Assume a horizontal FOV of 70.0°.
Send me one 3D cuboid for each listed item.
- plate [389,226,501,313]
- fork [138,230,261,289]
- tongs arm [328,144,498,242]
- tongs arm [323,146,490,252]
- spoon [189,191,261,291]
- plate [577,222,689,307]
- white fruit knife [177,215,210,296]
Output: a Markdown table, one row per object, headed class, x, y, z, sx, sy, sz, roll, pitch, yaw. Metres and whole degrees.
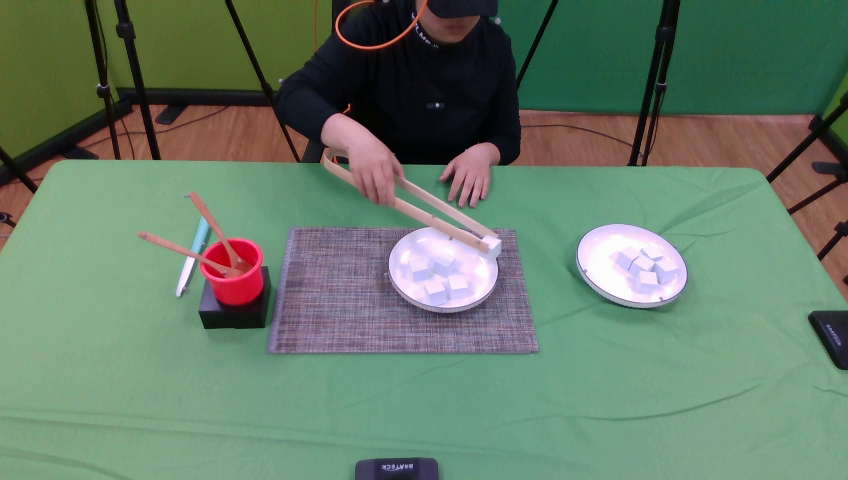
| class | x | y | z | sx | sy | sz | roll | pitch | yaw |
| --- | --- | --- | --- | --- | --- | --- | --- | --- | --- |
| plate | 0.038 | 0.057 | 1.129 | 0.208 | 0.039 | 0.206 | 2 | 46 | -2 |
| fork | -0.360 | 0.032 | 0.981 | 0.208 | 0.018 | 0.028 | 31 | 60 | -30 |
| tongs arm | -0.027 | -0.095 | 1.162 | 0.386 | 0.028 | 0.028 | 30 | 54 | 17 |
| tongs arm | -0.040 | -0.081 | 1.147 | 0.384 | 0.026 | 0.050 | 27 | 49 | 14 |
| spoon | -0.333 | 0.001 | 1.012 | 0.041 | 0.194 | 0.021 | -34 | 15 | -25 |
| plate | 0.396 | 0.050 | 1.165 | 0.209 | 0.038 | 0.208 | 2 | 47 | -2 |
| white fruit knife | -0.435 | 0.025 | 1.148 | 0.027 | 0.016 | 0.206 | -18 | 45 | 19 |
